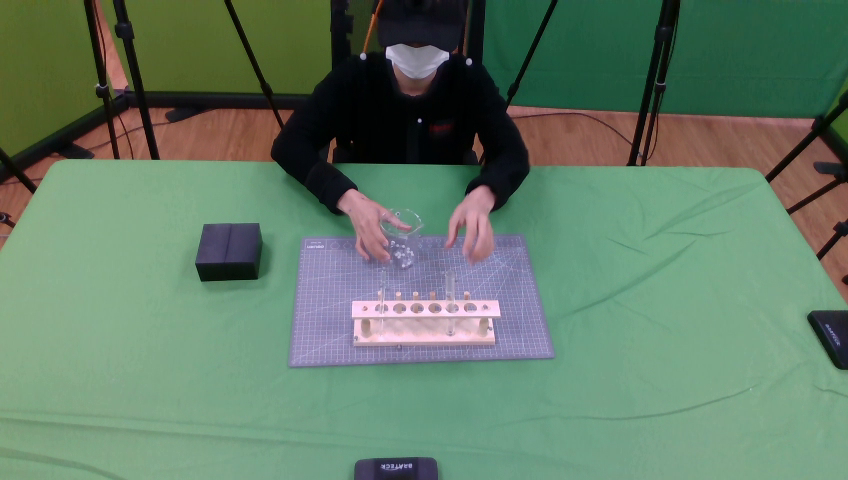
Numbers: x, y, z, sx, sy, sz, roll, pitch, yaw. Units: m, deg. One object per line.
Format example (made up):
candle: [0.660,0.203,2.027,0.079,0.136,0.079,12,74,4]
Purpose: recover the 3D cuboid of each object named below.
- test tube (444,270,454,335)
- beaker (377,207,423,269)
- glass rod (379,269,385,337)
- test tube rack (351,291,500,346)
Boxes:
test tube: [0.042,0.105,0.983,0.017,0.151,0.017,-1,44,1]
beaker: [-0.046,0.000,1.138,0.084,0.101,0.073,3,46,-3]
glass rod: [-0.066,0.104,0.953,0.008,0.200,0.008,3,53,-3]
test tube rack: [0.000,0.129,1.026,0.242,0.085,0.066,0,46,-4]
